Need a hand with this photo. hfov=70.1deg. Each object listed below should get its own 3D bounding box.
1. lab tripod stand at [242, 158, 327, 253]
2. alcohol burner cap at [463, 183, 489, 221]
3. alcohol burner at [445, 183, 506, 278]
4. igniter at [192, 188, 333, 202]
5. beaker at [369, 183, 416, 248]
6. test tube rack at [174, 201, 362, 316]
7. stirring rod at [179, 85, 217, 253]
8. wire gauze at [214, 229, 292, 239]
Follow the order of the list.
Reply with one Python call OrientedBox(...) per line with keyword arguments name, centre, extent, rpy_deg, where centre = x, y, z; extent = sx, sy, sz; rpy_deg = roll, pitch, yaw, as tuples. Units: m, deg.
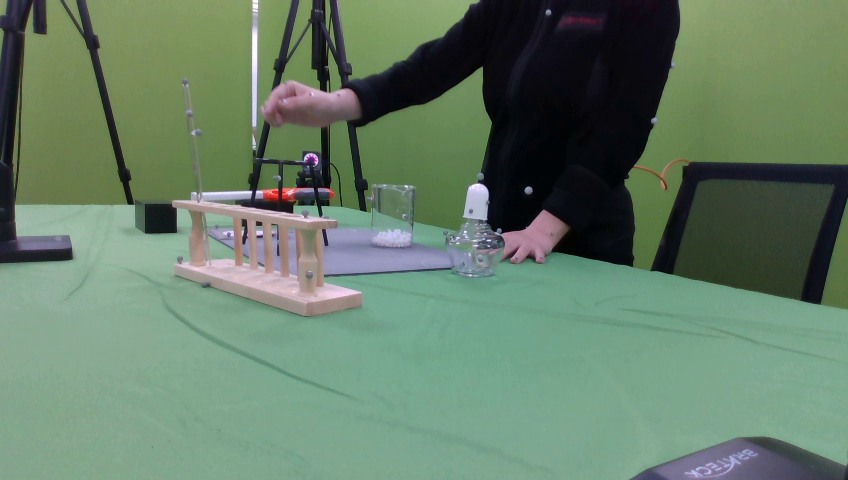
OrientedBox(name="lab tripod stand", centre=(-0.207, -0.054, 0.895), extent=(0.148, 0.131, 0.148), rpy_deg=(3, 5, 0))
OrientedBox(name="alcohol burner cap", centre=(0.067, -0.048, 0.765), extent=(0.034, 0.048, 0.034), rpy_deg=(5, 4, 0))
OrientedBox(name="alcohol burner", centre=(0.066, -0.013, 0.770), extent=(0.078, 0.119, 0.078), rpy_deg=(0, 7, 0))
OrientedBox(name="igniter", centre=(-0.316, -0.090, 1.213), extent=(0.278, 0.025, 0.057), rpy_deg=(-5, 12, -32))
OrientedBox(name="beaker", centre=(-0.050, -0.039, 0.971), extent=(0.074, 0.100, 0.083), rpy_deg=(-1, 9, -24))
OrientedBox(name="test tube rack", centre=(-0.169, 0.010, 0.622), extent=(0.241, 0.085, 0.067), rpy_deg=(9, 9, 41))
OrientedBox(name="stirring rod", centre=(-0.236, -0.073, 0.634), extent=(0.006, 0.176, 0.014), rpy_deg=(0, 10, 42))
OrientedBox(name="wire gauze", centre=(-0.298, -0.013, 1.039), extent=(0.122, 0.011, 0.124), rpy_deg=(-2, 6, -27))
